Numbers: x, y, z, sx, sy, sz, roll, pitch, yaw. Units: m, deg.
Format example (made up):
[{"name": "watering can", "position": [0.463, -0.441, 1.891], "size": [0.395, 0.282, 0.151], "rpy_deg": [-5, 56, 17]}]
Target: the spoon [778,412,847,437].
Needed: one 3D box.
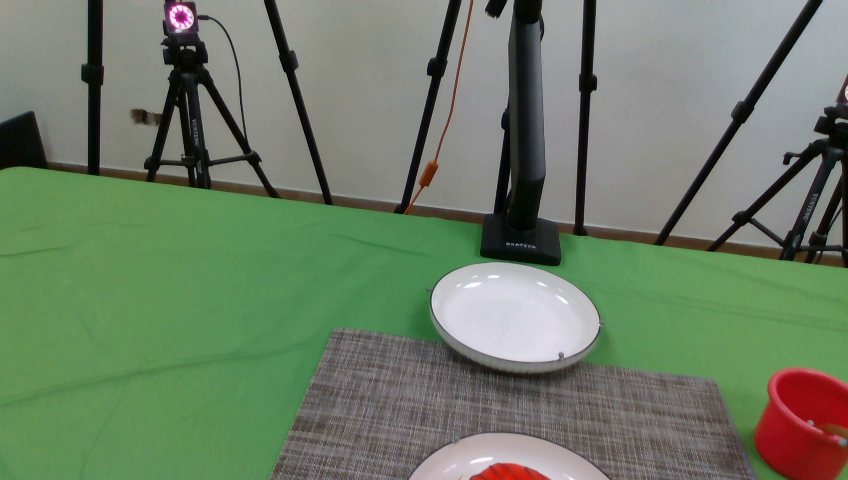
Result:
[{"name": "spoon", "position": [0.367, 0.170, 0.554], "size": [0.041, 0.021, 0.195], "rpy_deg": [19, -9, 20]}]

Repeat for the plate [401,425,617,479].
[{"name": "plate", "position": [0.075, 0.242, 0.490], "size": [0.209, 0.038, 0.207], "rpy_deg": [3, 32, -2]}]

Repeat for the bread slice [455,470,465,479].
[{"name": "bread slice", "position": [0.072, 0.245, 0.489], "size": [0.131, 0.019, 0.104], "rpy_deg": [13, 33, 15]}]

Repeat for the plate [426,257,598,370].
[{"name": "plate", "position": [0.105, 0.091, 0.742], "size": [0.208, 0.039, 0.206], "rpy_deg": [4, 30, -2]}]

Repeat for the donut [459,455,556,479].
[{"name": "donut", "position": [0.068, 0.214, 0.470], "size": [0.099, 0.048, 0.098], "rpy_deg": [3, 32, -2]}]
